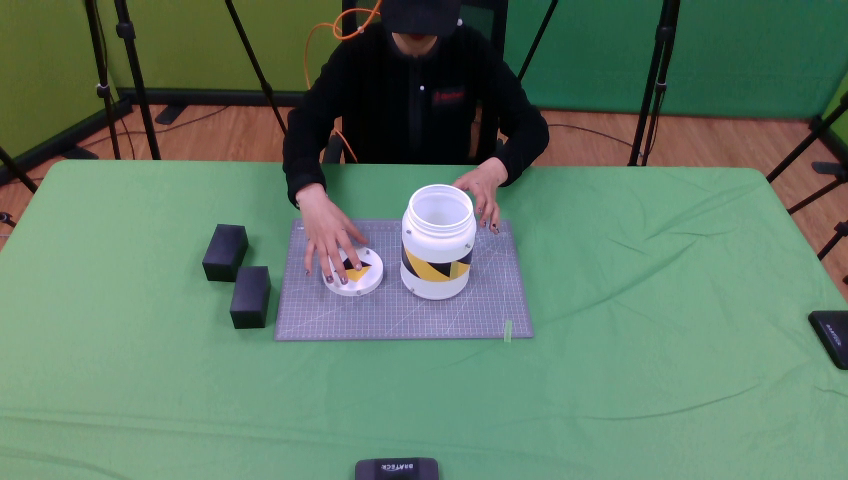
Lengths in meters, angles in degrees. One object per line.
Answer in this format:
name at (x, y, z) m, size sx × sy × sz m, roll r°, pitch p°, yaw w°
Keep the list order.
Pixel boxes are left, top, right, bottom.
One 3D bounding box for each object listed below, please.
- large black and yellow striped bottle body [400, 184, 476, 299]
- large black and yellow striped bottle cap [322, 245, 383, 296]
large black and yellow striped bottle body at (0.024, 0.003, 1.079) m, size 0.131 × 0.185 × 0.130 m, roll 2°, pitch 46°, yaw -2°
large black and yellow striped bottle cap at (-0.133, 0.055, 1.135) m, size 0.115 × 0.019 × 0.114 m, roll 2°, pitch 47°, yaw -2°
